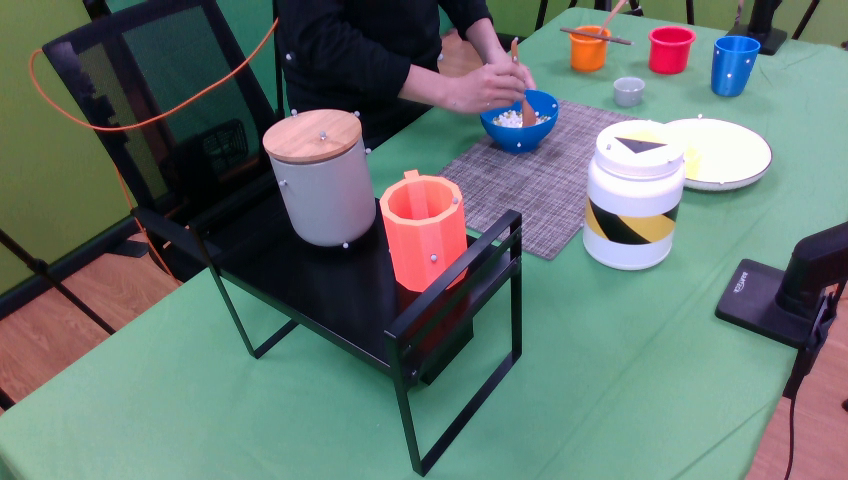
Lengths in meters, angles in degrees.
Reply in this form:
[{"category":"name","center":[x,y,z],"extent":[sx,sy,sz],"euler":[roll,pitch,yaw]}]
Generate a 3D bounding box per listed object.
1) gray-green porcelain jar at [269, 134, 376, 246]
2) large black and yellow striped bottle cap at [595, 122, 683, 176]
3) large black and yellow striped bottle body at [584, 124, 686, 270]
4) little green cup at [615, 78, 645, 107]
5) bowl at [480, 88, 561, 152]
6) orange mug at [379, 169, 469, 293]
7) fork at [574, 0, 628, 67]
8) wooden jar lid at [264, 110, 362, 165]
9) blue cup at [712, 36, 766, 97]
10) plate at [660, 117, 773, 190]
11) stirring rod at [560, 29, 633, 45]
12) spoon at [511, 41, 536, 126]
[{"category":"gray-green porcelain jar","center":[-0.115,-0.064,0.715],"extent":[0.106,0.127,0.105],"euler":[-4,40,4]},{"category":"large black and yellow striped bottle cap","center":[0.293,-0.126,0.826],"extent":[0.115,0.019,0.114],"euler":[-3,40,3]},{"category":"large black and yellow striped bottle body","center":[0.304,-0.063,0.880],"extent":[0.131,0.185,0.130],"euler":[-5,41,5]},{"category":"little green cup","center":[0.426,-0.306,1.257],"extent":[0.061,0.039,0.061],"euler":[-4,40,4]},{"category":"bowl","center":[0.185,-0.222,1.160],"extent":[0.151,0.077,0.150],"euler":[-4,40,4]},{"category":"orange mug","center":[-0.002,-0.019,0.666],"extent":[0.083,0.101,0.125],"euler":[-12,44,-4]},{"category":"fork","center":[0.413,-0.481,1.377],"extent":[0.207,0.019,0.028],"euler":[-56,43,12]},{"category":"wooden jar lid","center":[-0.122,-0.112,0.673],"extent":[0.108,0.021,0.108],"euler":[-4,37,4]},{"category":"blue cup","center":[0.627,-0.350,1.227],"extent":[0.092,0.100,0.092],"euler":[-4,39,4]},{"category":"plate","center":[0.495,-0.148,1.063],"extent":[0.209,0.038,0.208],"euler":[-5,40,4]},{"category":"stirring rod","center":[0.381,-0.452,1.345],"extent":[0.174,0.006,0.014],"euler":[25,49,33]},{"category":"spoon","center":[0.174,-0.268,1.085],"extent":[0.042,0.195,0.021],"euler":[-42,44,-20]}]
